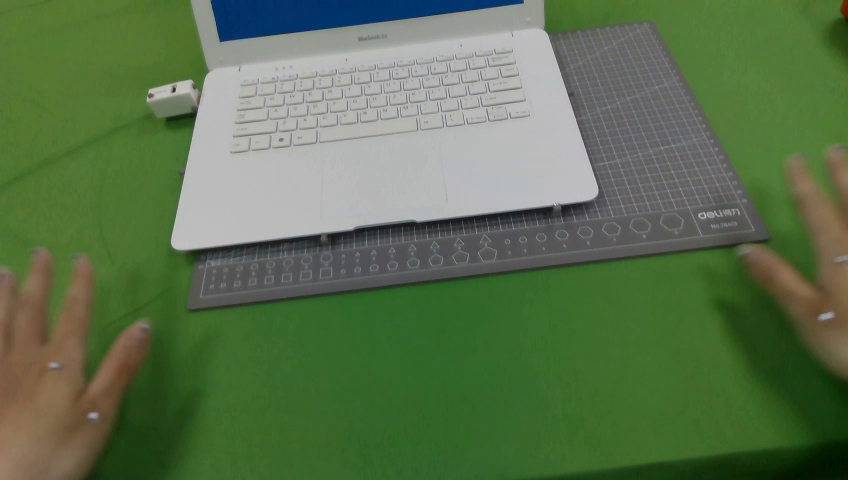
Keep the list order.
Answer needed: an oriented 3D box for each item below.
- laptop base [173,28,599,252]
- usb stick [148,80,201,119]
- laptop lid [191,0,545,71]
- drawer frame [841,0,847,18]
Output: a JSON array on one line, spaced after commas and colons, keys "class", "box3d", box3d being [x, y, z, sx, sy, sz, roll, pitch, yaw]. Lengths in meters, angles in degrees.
[{"class": "laptop base", "box3d": [-0.040, -0.100, 0.562, 0.354, 0.023, 0.233, -7, 55, 1]}, {"class": "usb stick", "box3d": [-0.239, -0.141, 0.601, 0.059, 0.027, 0.021, -9, 51, 0]}, {"class": "laptop lid", "box3d": [-0.063, -0.298, 0.587, 0.357, 0.243, 0.013, -8, 23, 2]}, {"class": "drawer frame", "box3d": [0.528, -0.189, 0.525, 0.202, 0.083, 0.211, -12, 51, -1]}]
